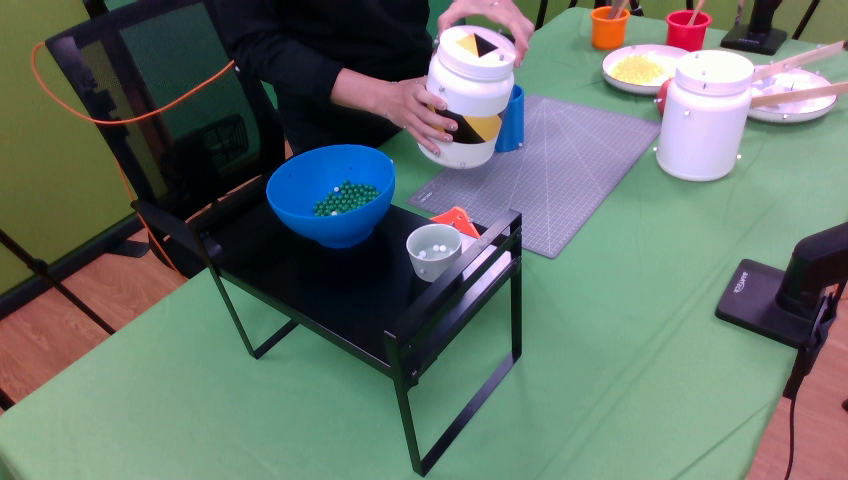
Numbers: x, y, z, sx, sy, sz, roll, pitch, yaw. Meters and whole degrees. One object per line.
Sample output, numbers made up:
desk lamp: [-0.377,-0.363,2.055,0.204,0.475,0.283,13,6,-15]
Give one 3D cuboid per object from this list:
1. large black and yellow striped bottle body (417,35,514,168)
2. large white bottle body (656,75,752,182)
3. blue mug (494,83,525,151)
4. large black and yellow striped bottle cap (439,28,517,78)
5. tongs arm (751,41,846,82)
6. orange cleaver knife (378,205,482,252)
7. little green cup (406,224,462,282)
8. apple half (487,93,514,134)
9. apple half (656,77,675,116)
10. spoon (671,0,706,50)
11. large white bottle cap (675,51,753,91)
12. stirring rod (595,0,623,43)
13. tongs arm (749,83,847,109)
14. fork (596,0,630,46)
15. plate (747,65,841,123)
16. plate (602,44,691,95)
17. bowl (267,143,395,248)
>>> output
large black and yellow striped bottle body: [0.066,-0.220,0.947,0.131,0.184,0.130,7,46,-7]
large white bottle body: [0.472,-0.207,1.022,0.130,0.185,0.130,-4,41,4]
blue mug: [0.138,-0.240,1.169,0.116,0.106,0.082,10,44,21]
large black and yellow striped bottle cap: [0.079,-0.276,0.886,0.115,0.019,0.114,6,45,-6]
tongs arm: [0.708,-0.331,1.194,0.386,0.026,0.050,-18,45,-16]
orange cleaver knife: [0.005,-0.010,0.944,0.210,0.077,0.012,-4,23,47]
little green cup: [0.012,0.015,0.668,0.061,0.039,0.061,-4,40,4]
apple half: [0.142,-0.238,1.158,0.033,0.081,0.080,-12,40,-16]
apple half: [0.488,-0.281,1.192,0.053,0.075,0.081,24,54,37]
spoon: [0.629,-0.520,1.394,0.041,0.022,0.193,30,96,34]
large white bottle cap: [0.463,-0.271,0.967,0.115,0.018,0.114,-4,40,4]
stirring rod: [0.460,-0.556,1.459,0.014,0.006,0.176,30,93,23]
tongs arm: [0.734,-0.280,1.134,0.388,0.028,0.028,-9,47,-5]
fork: [0.481,-0.556,1.452,0.028,0.019,0.207,40,103,40]
plate: [0.695,-0.283,1.189,0.207,0.039,0.206,-4,40,4]
plate: [0.495,-0.367,1.317,0.209,0.038,0.208,-4,40,4]
bowl: [-0.104,-0.043,0.726,0.151,0.077,0.150,-4,40,4]
